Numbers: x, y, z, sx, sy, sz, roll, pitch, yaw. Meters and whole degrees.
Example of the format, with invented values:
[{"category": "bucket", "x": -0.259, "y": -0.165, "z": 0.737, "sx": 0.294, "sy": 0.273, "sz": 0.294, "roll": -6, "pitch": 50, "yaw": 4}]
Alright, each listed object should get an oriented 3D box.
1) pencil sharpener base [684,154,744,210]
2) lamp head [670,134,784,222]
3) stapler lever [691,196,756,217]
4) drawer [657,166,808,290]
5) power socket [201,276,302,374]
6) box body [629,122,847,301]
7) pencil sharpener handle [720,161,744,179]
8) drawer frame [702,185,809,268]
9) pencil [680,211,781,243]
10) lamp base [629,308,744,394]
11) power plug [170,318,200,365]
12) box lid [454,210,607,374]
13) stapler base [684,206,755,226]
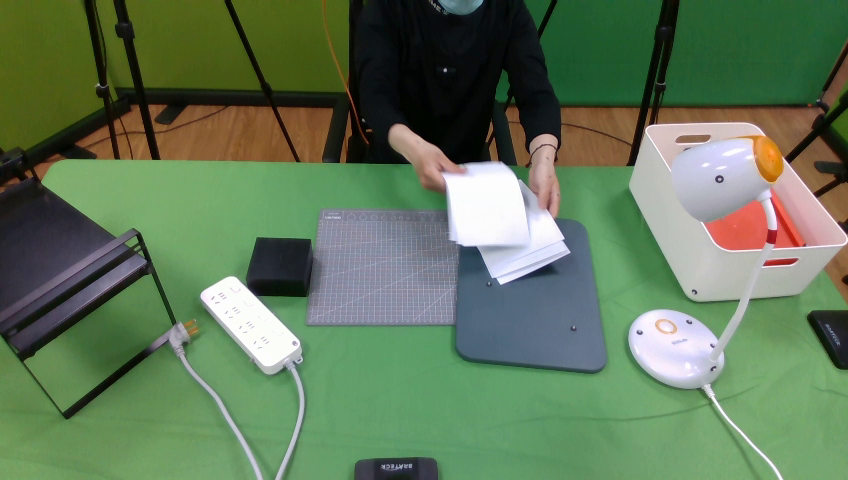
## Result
[{"category": "pencil sharpener base", "x": 0.619, "y": -0.124, "z": 1.293, "sx": 0.077, "sy": 0.107, "sz": 0.061, "roll": -8, "pitch": 47, "yaw": -12}, {"category": "lamp head", "x": 0.422, "y": -0.089, "z": 0.829, "sx": 0.113, "sy": 0.123, "sz": 0.112, "roll": 8, "pitch": 74, "yaw": -32}, {"category": "stapler lever", "x": 0.586, "y": -0.066, "z": 1.184, "sx": 0.118, "sy": 0.040, "sz": 0.026, "roll": 2, "pitch": 59, "yaw": 12}, {"category": "drawer", "x": 0.582, "y": -0.024, "z": 1.163, "sx": 0.194, "sy": 0.073, "sz": 0.210, "roll": -12, "pitch": 56, "yaw": 3}, {"category": "power socket", "x": -0.297, "y": 0.141, "z": 1.034, "sx": 0.072, "sy": 0.033, "sz": 0.225, "roll": -34, "pitch": 58, "yaw": -30}, {"category": "box body", "x": 0.593, "y": -0.062, "z": 1.202, "sx": 0.254, "sy": 0.161, "sz": 0.361, "roll": -3, "pitch": 47, "yaw": -7}, {"category": "pencil sharpener handle", "x": 0.667, "y": -0.147, "z": 1.299, "sx": 0.031, "sy": 0.068, "sz": 0.036, "roll": -8, "pitch": 80, "yaw": -12}, {"category": "drawer frame", "x": 0.584, "y": -0.023, "z": 1.160, "sx": 0.202, "sy": 0.083, "sz": 0.212, "roll": -12, "pitch": 56, "yaw": 3}, {"category": "pencil", "x": 0.598, "y": -0.028, "z": 1.185, "sx": 0.194, "sy": 0.012, "sz": 0.012, "roll": 18, "pitch": 48, "yaw": 10}, {"category": "lamp base", "x": 0.446, "y": 0.139, "z": 0.987, "sx": 0.161, "sy": 0.181, "sz": 0.178, "roll": -18, "pitch": 53, "yaw": -20}, {"category": "power plug", "x": -0.392, "y": 0.167, "z": 1.013, "sx": 0.052, "sy": 0.035, "sz": 0.072, "roll": -31, "pitch": 89, "yaw": -23}, {"category": "box lid", "x": 0.194, "y": 0.080, "z": 1.143, "sx": 0.263, "sy": 0.015, "sz": 0.369, "roll": 6, "pitch": 47, "yaw": 0}, {"category": "stapler base", "x": 0.588, "y": -0.052, "z": 1.204, "sx": 0.130, "sy": 0.024, "sz": 0.041, "roll": 2, "pitch": 59, "yaw": 11}]
